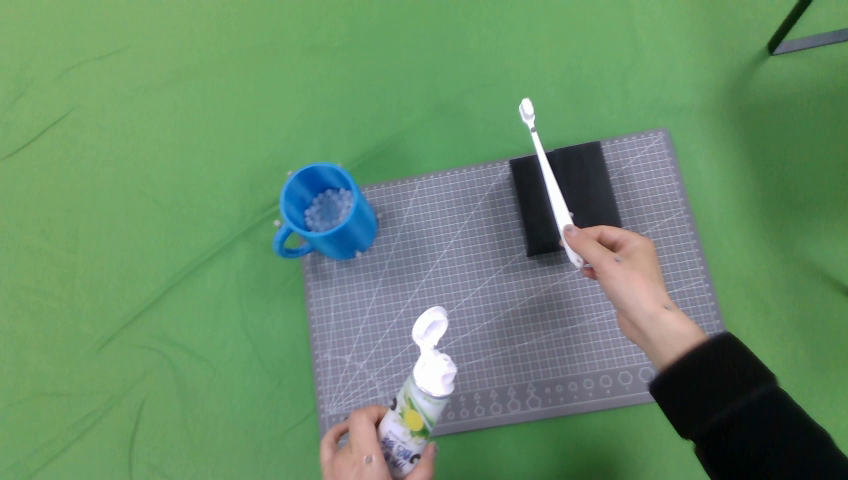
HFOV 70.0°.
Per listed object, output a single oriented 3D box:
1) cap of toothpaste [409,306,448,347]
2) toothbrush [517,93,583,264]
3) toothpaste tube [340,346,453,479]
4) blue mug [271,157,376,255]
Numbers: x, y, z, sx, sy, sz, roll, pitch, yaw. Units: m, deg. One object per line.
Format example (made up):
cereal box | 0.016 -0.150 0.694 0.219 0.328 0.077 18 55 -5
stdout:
cap of toothpaste | 0.005 0.068 0.469 0.037 0.038 0.011 -48 48 -6
toothbrush | 0.121 -0.062 0.582 0.014 0.017 0.180 -12 73 -10
toothpaste tube | -0.021 0.152 0.493 0.055 0.034 0.165 33 114 18
blue mug | -0.116 -0.024 0.667 0.116 0.106 0.082 -38 75 -3
